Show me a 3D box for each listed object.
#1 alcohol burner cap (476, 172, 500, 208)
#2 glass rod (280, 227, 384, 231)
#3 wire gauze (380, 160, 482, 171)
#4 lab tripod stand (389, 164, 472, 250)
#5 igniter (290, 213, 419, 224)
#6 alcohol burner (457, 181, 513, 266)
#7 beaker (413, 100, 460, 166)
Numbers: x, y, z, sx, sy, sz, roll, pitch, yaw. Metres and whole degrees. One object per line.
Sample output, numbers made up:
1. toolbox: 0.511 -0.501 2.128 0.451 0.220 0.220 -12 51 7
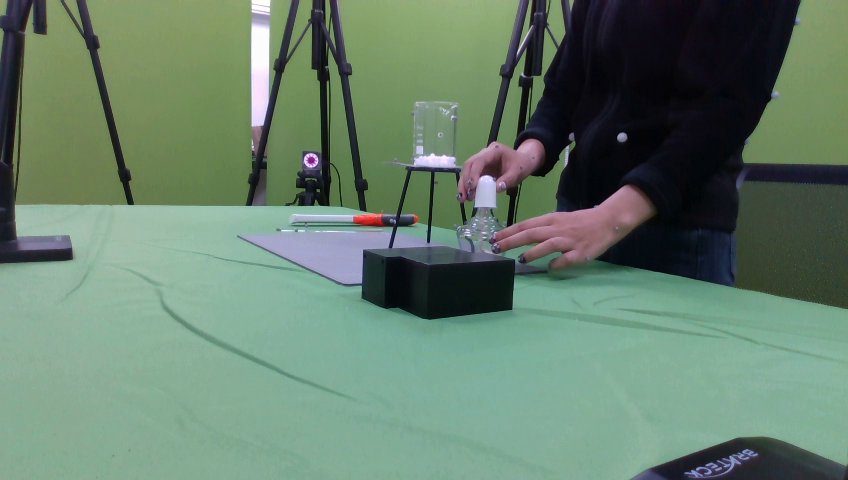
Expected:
1. alcohol burner cap: 0.090 -0.070 0.839 0.034 0.048 0.034 3 10 0
2. glass rod: -0.175 -0.021 1.161 0.200 0.008 0.008 1 7 -15
3. wire gauze: 0.011 -0.119 0.951 0.122 0.011 0.124 -5 12 -32
4. lab tripod stand: 0.011 -0.054 0.960 0.148 0.131 0.148 2 9 0
5. igniter: -0.143 -0.046 1.288 0.278 0.025 0.057 -1 -3 -24
6. alcohol burner: 0.085 -0.025 0.837 0.078 0.119 0.078 0 8 0
7. beaker: 0.020 -0.167 0.953 0.073 0.100 0.084 5 9 26
